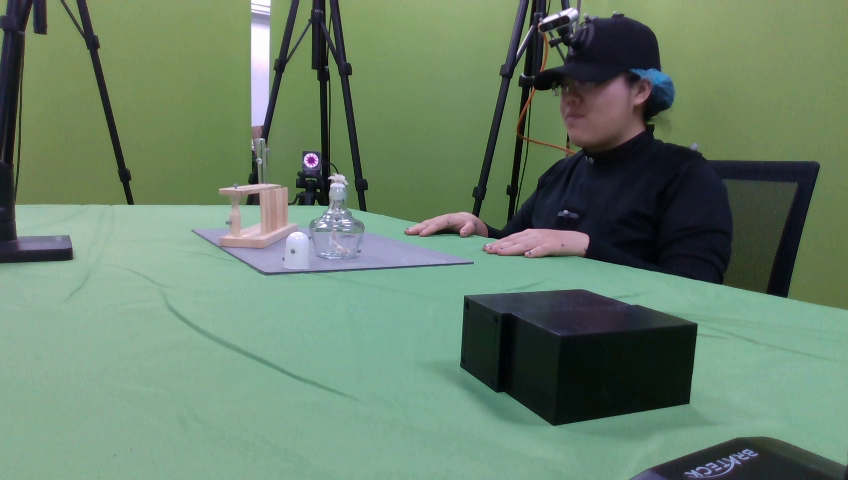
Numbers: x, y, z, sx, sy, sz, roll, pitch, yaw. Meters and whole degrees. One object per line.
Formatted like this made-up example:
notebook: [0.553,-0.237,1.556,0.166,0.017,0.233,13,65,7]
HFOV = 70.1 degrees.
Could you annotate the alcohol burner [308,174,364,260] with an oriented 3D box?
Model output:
alcohol burner: [-0.121,-0.033,0.841,0.078,0.119,0.078,3,5,0]

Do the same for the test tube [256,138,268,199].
test tube: [-0.284,-0.104,1.066,0.017,0.150,0.017,-1,9,0]

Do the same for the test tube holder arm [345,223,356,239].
test tube holder arm: [-0.132,-0.018,1.083,0.013,0.015,0.178,35,0,-12]

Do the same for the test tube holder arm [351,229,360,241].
test tube holder arm: [-0.120,-0.009,1.040,0.010,0.015,0.087,35,0,-11]

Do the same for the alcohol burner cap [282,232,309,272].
alcohol burner cap: [-0.157,0.014,0.740,0.034,0.048,0.034,3,6,0]

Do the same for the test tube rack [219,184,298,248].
test tube rack: [-0.266,-0.046,1.002,0.067,0.085,0.242,2,7,0]
